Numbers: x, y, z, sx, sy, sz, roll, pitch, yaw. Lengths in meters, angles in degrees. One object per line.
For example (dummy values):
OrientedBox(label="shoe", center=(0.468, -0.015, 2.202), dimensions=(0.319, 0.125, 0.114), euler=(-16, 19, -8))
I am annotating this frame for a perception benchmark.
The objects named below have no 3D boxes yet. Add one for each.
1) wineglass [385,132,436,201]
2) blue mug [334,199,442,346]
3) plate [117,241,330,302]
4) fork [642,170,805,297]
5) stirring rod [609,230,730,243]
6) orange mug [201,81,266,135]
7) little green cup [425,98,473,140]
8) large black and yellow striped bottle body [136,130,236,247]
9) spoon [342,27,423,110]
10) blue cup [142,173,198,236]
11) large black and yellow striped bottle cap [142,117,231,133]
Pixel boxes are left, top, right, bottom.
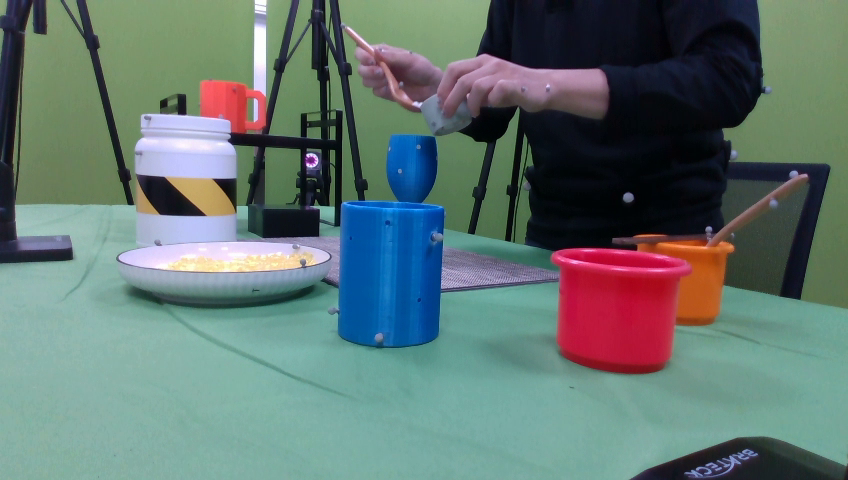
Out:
OrientedBox(label="wineglass", center=(-0.020, -0.061, 0.838), dimensions=(0.074, 0.172, 0.073), euler=(2, 7, 0))
OrientedBox(label="blue mug", center=(-0.034, 0.020, 0.498), dimensions=(0.083, 0.106, 0.116), euler=(0, 7, -20))
OrientedBox(label="plate", center=(-0.203, 0.031, 0.630), dimensions=(0.209, 0.038, 0.209), euler=(3, 7, 0))
OrientedBox(label="fork", center=(0.261, 0.003, 0.545), dimensions=(0.028, 0.018, 0.207), euler=(5, -37, -15))
OrientedBox(label="stirring rod", center=(0.241, -0.004, 0.582), dimensions=(0.177, 0.006, 0.014), euler=(-4, 10, -33))
OrientedBox(label="orange mug", center=(-0.377, -0.259, 1.197), dimensions=(0.126, 0.101, 0.083), euler=(-2, 7, -6))
OrientedBox(label="little green cup", center=(0.030, -0.151, 0.759), dimensions=(0.061, 0.038, 0.061), euler=(5, -5, 1))
OrientedBox(label="large black and yellow striped bottle body", center=(-0.332, -0.076, 0.851), dimensions=(0.131, 0.184, 0.130), euler=(3, 8, 0))
OrientedBox(label="spoon", center=(-0.061, -0.238, 0.833), dimensions=(0.042, 0.021, 0.193), euler=(2, 47, -53))
OrientedBox(label="blue cup", center=(-0.425, -0.060, 1.014), dimensions=(0.093, 0.100, 0.092), euler=(4, 9, 0))
OrientedBox(label="large black and yellow striped bottle cap", center=(-0.328, -0.159, 0.839), dimensions=(0.115, 0.019, 0.115), euler=(1, 9, 0))
